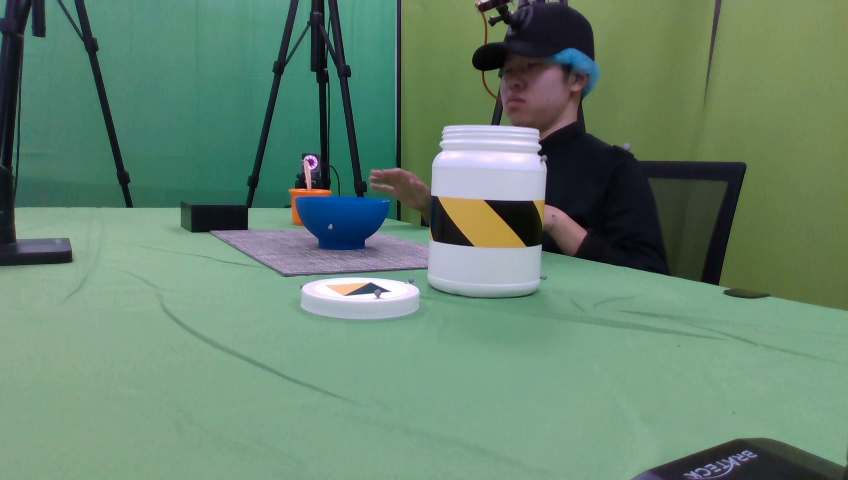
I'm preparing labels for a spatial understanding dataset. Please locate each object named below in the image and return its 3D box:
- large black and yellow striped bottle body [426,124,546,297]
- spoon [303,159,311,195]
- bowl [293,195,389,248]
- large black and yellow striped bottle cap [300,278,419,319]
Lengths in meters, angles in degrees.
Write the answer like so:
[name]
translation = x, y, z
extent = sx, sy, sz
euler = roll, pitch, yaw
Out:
[large black and yellow striped bottle body]
translation = 0.070, -0.037, 0.689
extent = 0.131, 0.184, 0.130
euler = 2, 7, 0
[spoon]
translation = -0.256, -0.113, 1.341
extent = 0.042, 0.193, 0.021
euler = 3, -38, -18
[bowl]
translation = -0.132, -0.029, 0.962
extent = 0.151, 0.077, 0.151
euler = 2, 7, 0
[large black and yellow striped bottle cap]
translation = -0.062, 0.055, 0.588
extent = 0.115, 0.019, 0.115
euler = 1, 6, 0
